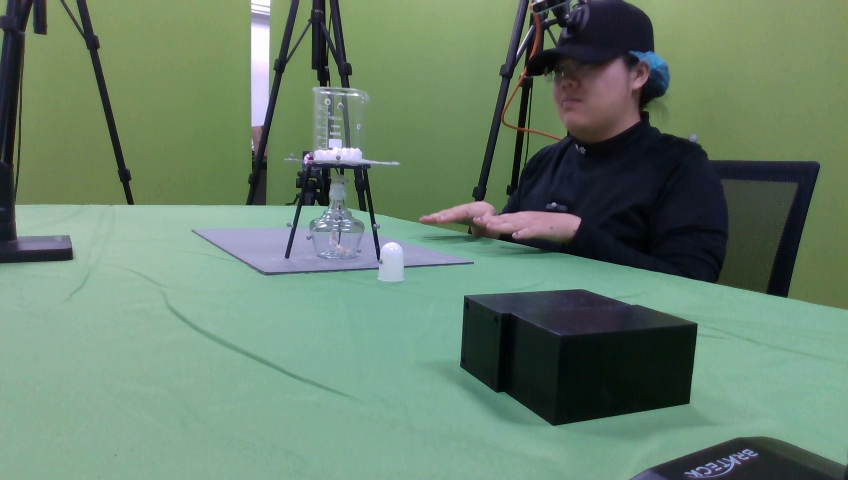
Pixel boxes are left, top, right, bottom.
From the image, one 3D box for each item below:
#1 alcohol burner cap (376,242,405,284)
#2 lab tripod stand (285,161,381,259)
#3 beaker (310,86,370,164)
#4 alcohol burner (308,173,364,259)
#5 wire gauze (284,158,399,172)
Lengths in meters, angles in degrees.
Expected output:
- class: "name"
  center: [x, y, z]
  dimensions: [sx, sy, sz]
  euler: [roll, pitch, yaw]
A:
- class: "alcohol burner cap"
  center: [-0.039, 0.026, 0.710]
  dimensions: [0.034, 0.048, 0.034]
  euler: [3, 6, 0]
- class: "lab tripod stand"
  center: [-0.123, -0.043, 0.842]
  dimensions: [0.148, 0.131, 0.148]
  euler: [2, 9, 0]
- class: "beaker"
  center: [-0.116, -0.156, 0.833]
  dimensions: [0.084, 0.100, 0.073]
  euler: [-2, 10, -29]
- class: "alcohol burner"
  center: [-0.121, -0.033, 0.843]
  dimensions: [0.078, 0.119, 0.078]
  euler: [3, 5, 0]
- class: "wire gauze"
  center: [-0.116, -0.108, 0.835]
  dimensions: [0.126, 0.011, 0.121]
  euler: [0, 10, -31]
